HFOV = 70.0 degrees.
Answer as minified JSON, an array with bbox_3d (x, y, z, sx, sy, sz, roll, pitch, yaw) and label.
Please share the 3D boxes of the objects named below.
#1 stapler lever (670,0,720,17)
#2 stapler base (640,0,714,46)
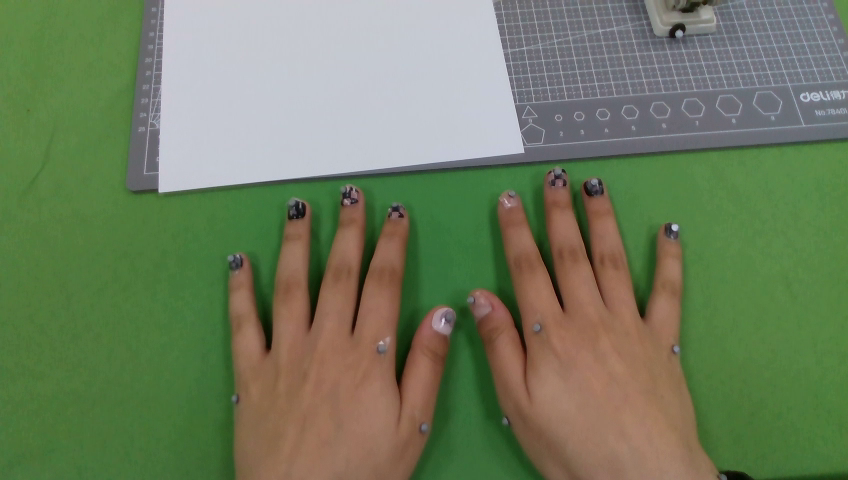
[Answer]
[{"bbox_3d":[0.161,-0.197,0.379,0.027,0.040,0.117,-6,70,0],"label":"stapler lever"},{"bbox_3d":[0.161,-0.189,0.403,0.041,0.024,0.129,-6,70,0],"label":"stapler base"}]
